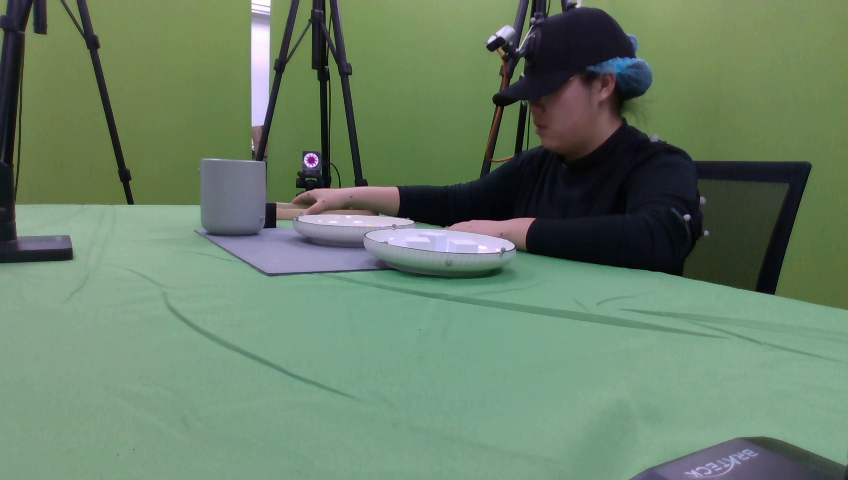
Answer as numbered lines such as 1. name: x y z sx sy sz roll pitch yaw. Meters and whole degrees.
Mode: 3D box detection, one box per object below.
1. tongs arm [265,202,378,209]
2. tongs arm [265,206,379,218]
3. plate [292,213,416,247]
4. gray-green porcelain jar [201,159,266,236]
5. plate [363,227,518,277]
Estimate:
1. tongs arm: -0.299 -0.072 1.418 0.386 0.026 0.050 2 7 -13
2. tongs arm: -0.281 -0.061 1.351 0.389 0.028 0.028 1 4 -23
3. plate: -0.118 -0.017 1.024 0.208 0.039 0.207 2 8 0
4. gray-green porcelain jar: -0.326 -0.073 1.036 0.106 0.126 0.106 3 8 0
5. plate: 0.021 0.016 0.817 0.209 0.038 0.209 4 9 0
